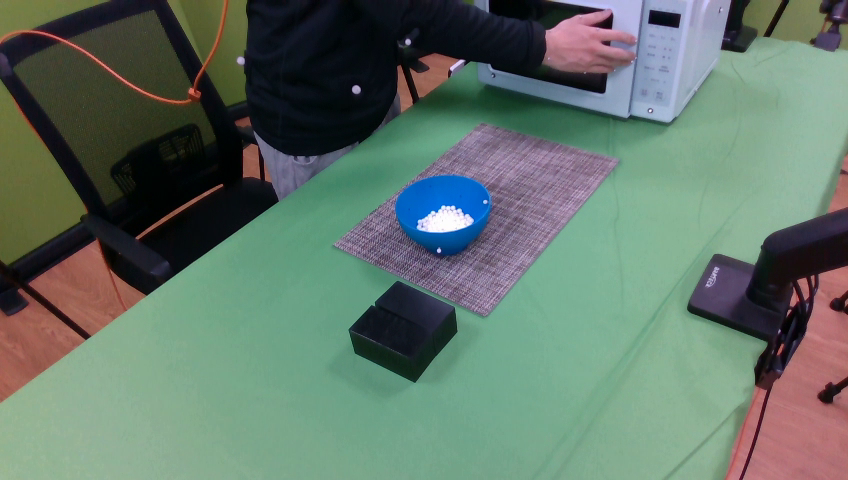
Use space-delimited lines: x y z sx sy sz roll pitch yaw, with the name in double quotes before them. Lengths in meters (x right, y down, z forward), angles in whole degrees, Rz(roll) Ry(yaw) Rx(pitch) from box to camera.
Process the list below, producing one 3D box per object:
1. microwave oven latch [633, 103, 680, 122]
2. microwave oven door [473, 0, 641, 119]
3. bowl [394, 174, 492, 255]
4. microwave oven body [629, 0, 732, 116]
"microwave oven latch" 0.444 -0.249 1.157 0.078 0.029 0.030 21 49 30
"microwave oven door" 0.253 -0.392 1.195 0.353 0.245 0.039 23 49 31
"bowl" 0.032 -0.030 0.949 0.151 0.077 0.150 -4 40 4
"microwave oven body" 0.377 -0.462 1.267 0.438 0.261 0.327 21 48 30
